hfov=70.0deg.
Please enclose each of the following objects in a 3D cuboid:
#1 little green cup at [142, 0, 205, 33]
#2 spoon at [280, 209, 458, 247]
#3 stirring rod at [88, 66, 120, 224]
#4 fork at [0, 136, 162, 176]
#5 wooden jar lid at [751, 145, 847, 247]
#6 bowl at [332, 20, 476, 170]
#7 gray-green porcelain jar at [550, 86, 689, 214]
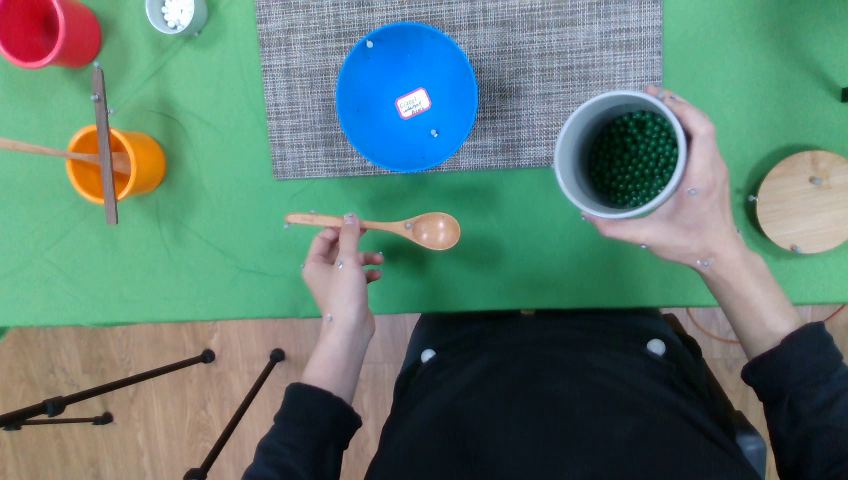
[{"bbox_3d":[-0.288,-0.269,0.702,0.061,0.038,0.062,2,101,10],"label":"little green cup"},{"bbox_3d":[-0.060,-0.020,0.653,0.194,0.021,0.042,5,99,-1],"label":"spoon"},{"bbox_3d":[-0.361,-0.106,0.685,0.014,0.006,0.176,-1,100,10],"label":"stirring rod"},{"bbox_3d":[-0.414,-0.101,0.697,0.209,0.018,0.028,7,108,-36],"label":"fork"},{"bbox_3d":[0.404,-0.046,0.643,0.108,0.020,0.108,2,102,10],"label":"wooden jar lid"},{"bbox_3d":[-0.015,-0.153,0.656,0.151,0.076,0.152,2,101,9],"label":"bowl"},{"bbox_3d":[0.183,-0.079,0.554,0.105,0.127,0.106,3,96,28],"label":"gray-green porcelain jar"}]
